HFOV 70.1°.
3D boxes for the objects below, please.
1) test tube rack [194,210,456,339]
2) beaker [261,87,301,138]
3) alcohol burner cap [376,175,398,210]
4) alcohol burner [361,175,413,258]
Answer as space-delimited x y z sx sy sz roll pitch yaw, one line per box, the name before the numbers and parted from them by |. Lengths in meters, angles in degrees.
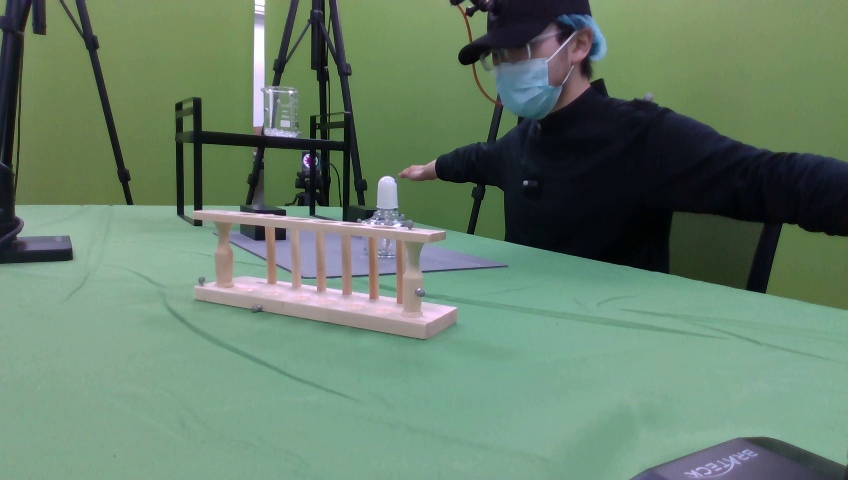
test tube rack | -0.093 0.023 0.545 0.241 0.085 0.067 6 8 25
beaker | -0.298 -0.263 1.255 0.084 0.100 0.073 -5 10 -40
alcohol burner cap | -0.053 -0.069 0.867 0.034 0.048 0.034 2 13 0
alcohol burner | -0.054 -0.034 0.871 0.078 0.119 0.078 1 8 0
